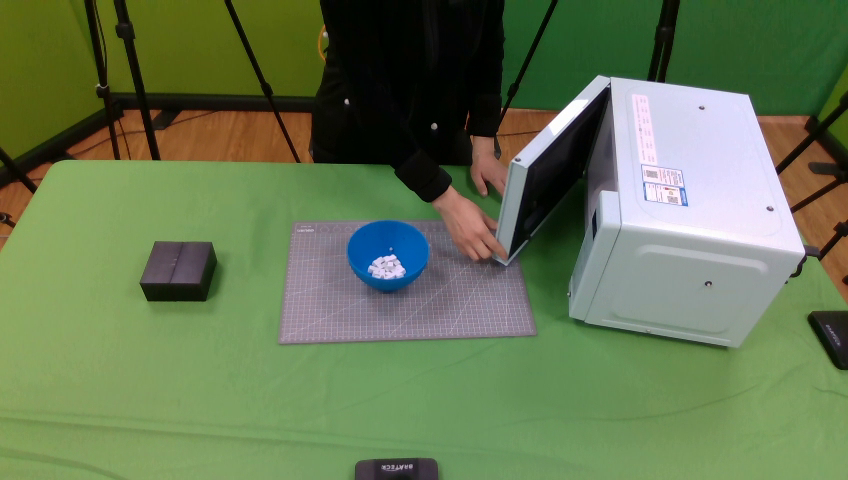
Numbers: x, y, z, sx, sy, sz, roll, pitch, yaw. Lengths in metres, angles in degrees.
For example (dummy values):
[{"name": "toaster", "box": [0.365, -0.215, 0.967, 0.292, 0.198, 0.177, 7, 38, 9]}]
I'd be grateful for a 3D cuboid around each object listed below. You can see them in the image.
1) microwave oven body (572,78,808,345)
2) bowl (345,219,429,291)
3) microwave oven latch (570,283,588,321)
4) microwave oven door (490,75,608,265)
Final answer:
[{"name": "microwave oven body", "box": [0.456, -0.063, 1.125, 0.326, 0.261, 0.439, 8, 45, 5]}, {"name": "bowl", "box": [-0.068, 0.041, 1.111, 0.151, 0.077, 0.150, 2, 46, -2]}, {"name": "microwave oven latch", "box": [0.276, 0.105, 1.082, 0.030, 0.029, 0.079, 10, 45, 6]}, {"name": "microwave oven door", "box": [0.249, -0.143, 1.178, 0.039, 0.245, 0.355, 29, 51, 22]}]
